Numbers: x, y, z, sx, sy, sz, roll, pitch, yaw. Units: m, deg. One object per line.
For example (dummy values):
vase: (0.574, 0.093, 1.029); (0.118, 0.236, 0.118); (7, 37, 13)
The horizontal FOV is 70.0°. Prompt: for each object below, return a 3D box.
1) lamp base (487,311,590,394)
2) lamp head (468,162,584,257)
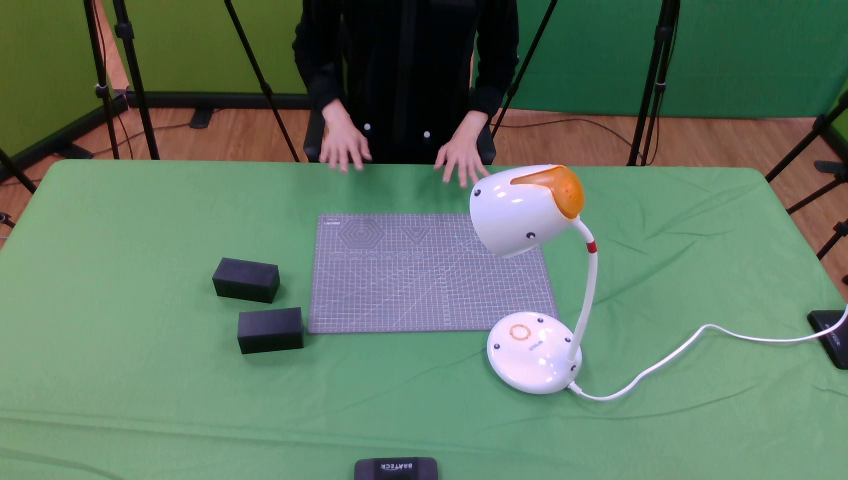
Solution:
lamp base: (0.199, 0.142, 0.962); (0.178, 0.181, 0.160); (38, 56, 24)
lamp head: (0.135, -0.043, 0.746); (0.122, 0.113, 0.112); (-15, 30, 42)
